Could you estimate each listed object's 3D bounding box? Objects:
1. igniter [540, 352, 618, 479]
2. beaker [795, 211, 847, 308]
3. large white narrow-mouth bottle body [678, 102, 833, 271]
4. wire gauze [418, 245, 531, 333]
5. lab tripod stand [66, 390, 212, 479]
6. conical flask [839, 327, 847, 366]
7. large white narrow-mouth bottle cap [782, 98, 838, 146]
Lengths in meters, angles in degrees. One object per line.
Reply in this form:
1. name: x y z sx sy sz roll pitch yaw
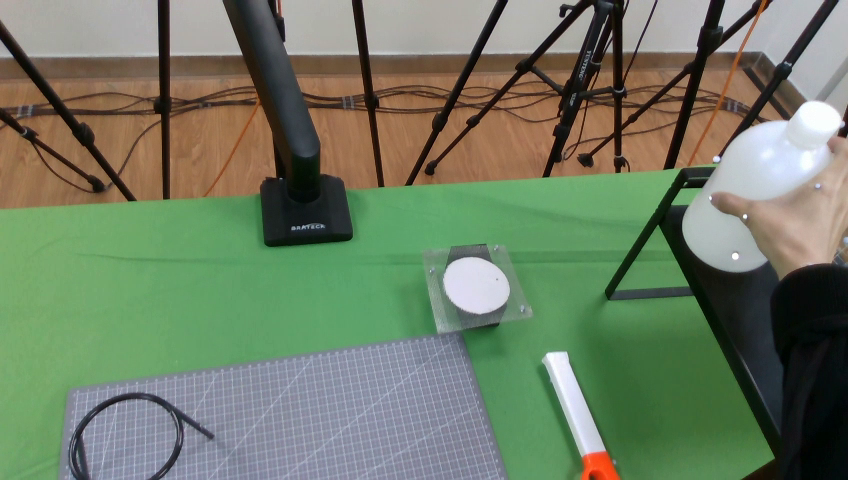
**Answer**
1. igniter: 0.191 0.250 0.680 0.057 0.025 0.273 2 50 -22
2. beaker: 0.449 0.016 0.636 0.074 0.101 0.083 1 51 -10
3. large white narrow-mouth bottle body: 0.330 -0.056 0.593 0.102 0.196 0.101 0 58 0
4. wire gauze: 0.061 0.056 0.763 0.122 0.011 0.123 -4 53 -14
5. lab tripod stand: -0.256 0.210 0.556 0.149 0.132 0.147 6 51 -8
6. conical flask: 0.462 0.084 0.568 0.075 0.123 0.074 5 50 -6
7. large white narrow-mouth bottle cap: 0.331 -0.101 0.521 0.038 0.024 0.037 1 59 -1
